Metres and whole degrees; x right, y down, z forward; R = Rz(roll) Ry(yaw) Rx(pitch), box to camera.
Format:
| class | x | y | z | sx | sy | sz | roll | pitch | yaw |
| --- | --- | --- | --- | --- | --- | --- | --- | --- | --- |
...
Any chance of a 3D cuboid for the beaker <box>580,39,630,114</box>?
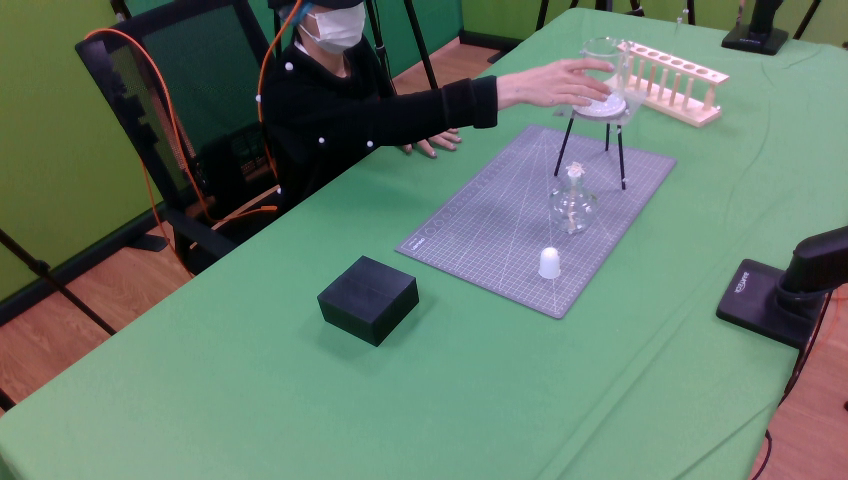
| class | x | y | z | sx | sy | sz | roll | pitch | yaw |
| --- | --- | --- | --- | --- | --- | --- | --- | --- | --- |
| beaker | 0.290 | -0.263 | 0.975 | 0.073 | 0.101 | 0.084 | 17 | 45 | 27 |

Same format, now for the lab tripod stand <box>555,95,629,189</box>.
| class | x | y | z | sx | sy | sz | roll | pitch | yaw |
| --- | --- | --- | --- | --- | --- | --- | --- | --- | --- |
| lab tripod stand | 0.300 | -0.174 | 1.045 | 0.148 | 0.132 | 0.147 | -5 | 38 | 5 |

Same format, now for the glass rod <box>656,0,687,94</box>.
| class | x | y | z | sx | sy | sz | roll | pitch | yaw |
| --- | --- | --- | --- | --- | --- | --- | --- | --- | --- |
| glass rod | 0.491 | -0.381 | 1.199 | 0.008 | 0.200 | 0.008 | 1 | 41 | 0 |

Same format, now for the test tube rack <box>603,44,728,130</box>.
| class | x | y | z | sx | sy | sz | roll | pitch | yaw |
| --- | --- | --- | --- | --- | --- | --- | --- | --- | --- |
| test tube rack | 0.480 | -0.316 | 1.227 | 0.067 | 0.085 | 0.240 | -28 | 44 | -22 |

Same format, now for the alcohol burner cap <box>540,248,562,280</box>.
| class | x | y | z | sx | sy | sz | roll | pitch | yaw |
| --- | --- | --- | --- | --- | --- | --- | --- | --- | --- |
| alcohol burner cap | 0.187 | 0.032 | 0.888 | 0.034 | 0.048 | 0.033 | -4 | 40 | 4 |

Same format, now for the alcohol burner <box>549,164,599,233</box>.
| class | x | y | z | sx | sy | sz | roll | pitch | yaw |
| --- | --- | --- | --- | --- | --- | --- | --- | --- | --- |
| alcohol burner | 0.236 | -0.069 | 0.946 | 0.078 | 0.119 | 0.077 | -3 | 41 | 3 |

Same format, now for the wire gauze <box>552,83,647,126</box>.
| class | x | y | z | sx | sy | sz | roll | pitch | yaw |
| --- | --- | --- | --- | --- | --- | --- | --- | --- | --- |
| wire gauze | 0.293 | -0.224 | 1.004 | 0.120 | 0.011 | 0.125 | 19 | 44 | 26 |
